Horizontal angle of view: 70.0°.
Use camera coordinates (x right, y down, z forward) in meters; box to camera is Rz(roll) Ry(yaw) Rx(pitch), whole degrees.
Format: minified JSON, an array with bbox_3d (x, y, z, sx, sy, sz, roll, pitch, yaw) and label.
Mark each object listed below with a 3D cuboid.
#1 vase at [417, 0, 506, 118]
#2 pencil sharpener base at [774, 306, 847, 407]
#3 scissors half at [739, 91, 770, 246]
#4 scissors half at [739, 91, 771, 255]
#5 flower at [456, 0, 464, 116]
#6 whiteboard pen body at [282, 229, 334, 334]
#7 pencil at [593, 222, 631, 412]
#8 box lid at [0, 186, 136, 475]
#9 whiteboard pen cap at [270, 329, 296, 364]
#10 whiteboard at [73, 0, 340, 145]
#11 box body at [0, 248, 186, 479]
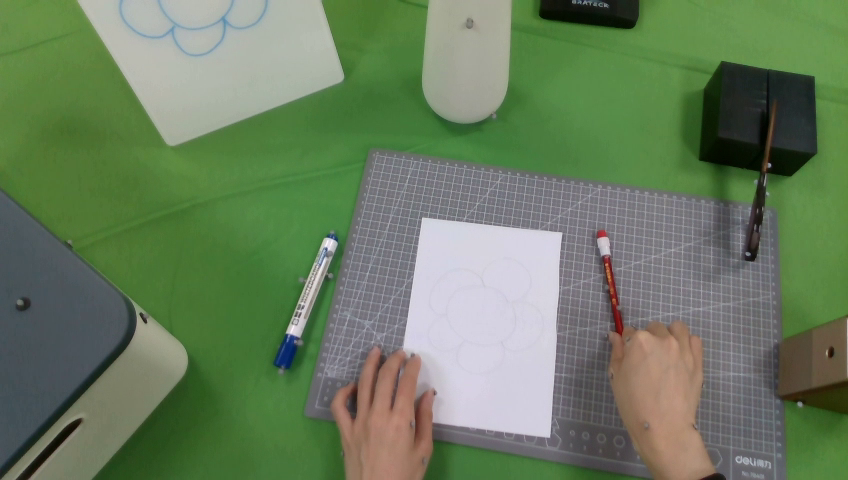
[{"bbox_3d":[0.039,-0.214,0.621,0.098,0.201,0.097,0,67,1],"label":"vase"},{"bbox_3d":[0.379,0.108,0.542,0.076,0.107,0.061,13,68,2],"label":"pencil sharpener base"},{"bbox_3d":[0.338,-0.076,0.611,0.013,0.040,0.174,10,70,24],"label":"scissors half"},{"bbox_3d":[0.346,-0.071,0.628,0.012,0.040,0.175,9,88,29],"label":"scissors half"},{"bbox_3d":[0.033,-0.259,0.549,0.044,0.365,0.038,2,51,5],"label":"flower"},{"bbox_3d":[-0.121,0.051,0.614,0.017,0.017,0.140,15,68,7],"label":"whiteboard pen body"},{"bbox_3d":[0.190,0.073,0.607,0.012,0.012,0.192,-4,70,-1],"label":"pencil"},{"bbox_3d":[-0.432,0.048,0.459,0.370,0.015,0.262,35,72,13],"label":"box lid"},{"bbox_3d":[-0.136,0.103,0.592,0.018,0.018,0.033,15,65,6],"label":"whiteboard pen cap"},{"bbox_3d":[-0.246,-0.293,0.629,0.217,0.308,0.142,-24,51,-8],"label":"whiteboard"},{"bbox_3d":[-0.429,0.077,0.528,0.362,0.161,0.253,35,73,13],"label":"box body"}]
